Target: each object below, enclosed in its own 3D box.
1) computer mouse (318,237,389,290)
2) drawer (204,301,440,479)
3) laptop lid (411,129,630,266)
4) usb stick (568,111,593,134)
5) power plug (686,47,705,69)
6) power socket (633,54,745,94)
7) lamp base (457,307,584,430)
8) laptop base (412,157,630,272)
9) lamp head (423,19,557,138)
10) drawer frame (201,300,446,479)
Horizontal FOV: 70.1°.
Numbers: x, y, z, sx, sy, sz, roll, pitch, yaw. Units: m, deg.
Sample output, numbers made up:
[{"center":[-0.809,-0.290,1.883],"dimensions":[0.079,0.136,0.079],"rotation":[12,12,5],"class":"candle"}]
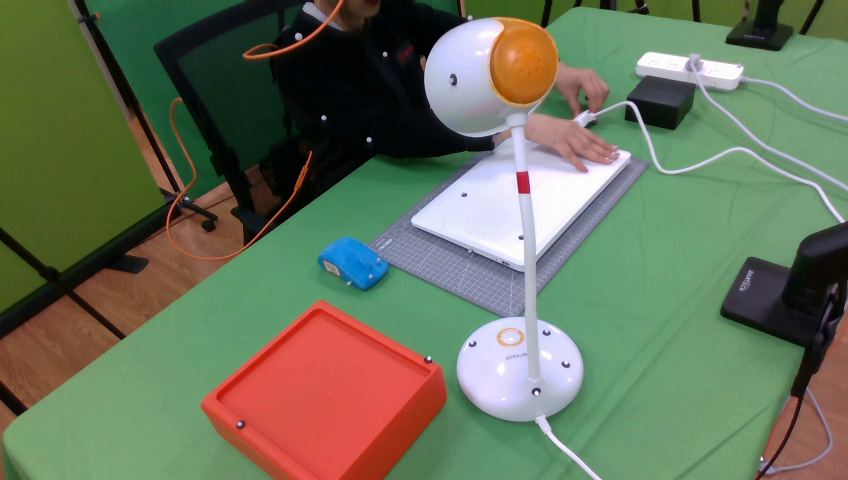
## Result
[{"center":[-0.113,0.034,0.959],"dimensions":[0.116,0.041,0.063],"rotation":[28,51,31],"class":"computer mouse"},{"center":[-0.119,0.193,0.735],"dimensions":[0.210,0.073,0.195],"rotation":[23,49,32],"class":"drawer"},{"center":[0.172,-0.093,1.049],"dimensions":[0.239,0.013,0.358],"rotation":[23,49,36],"class":"laptop lid"},{"center":[0.307,-0.231,1.196],"dimensions":[0.059,0.021,0.027],"rotation":[-42,14,-28],"class":"usb stick"},{"center":[0.565,-0.384,1.246],"dimensions":[0.035,0.073,0.052],"rotation":[22,74,14],"class":"power plug"},{"center":[0.563,-0.358,1.295],"dimensions":[0.225,0.033,0.072],"rotation":[21,50,30],"class":"power socket"},{"center":[0.115,0.108,0.713],"dimensions":[0.161,0.181,0.178],"rotation":[-16,43,-8],"class":"lamp base"},{"center":[0.176,-0.083,1.056],"dimensions":[0.233,0.023,0.355],"rotation":[21,48,36],"class":"laptop base"},{"center":[0.069,-0.151,0.563],"dimensions":[0.113,0.113,0.122],"rotation":[-21,18,-13],"class":"lamp head"},{"center":[-0.117,0.193,0.733],"dimensions":[0.212,0.083,0.202],"rotation":[23,48,32],"class":"drawer frame"}]
